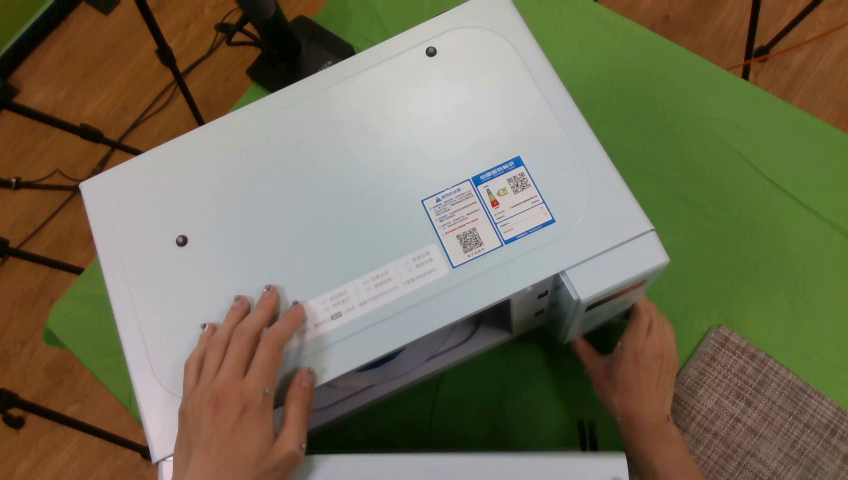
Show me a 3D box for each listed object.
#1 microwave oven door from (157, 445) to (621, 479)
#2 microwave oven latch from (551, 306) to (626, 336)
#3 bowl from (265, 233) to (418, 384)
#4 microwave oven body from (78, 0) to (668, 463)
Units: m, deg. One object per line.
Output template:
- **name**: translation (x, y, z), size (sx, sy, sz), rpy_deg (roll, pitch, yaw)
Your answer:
- **microwave oven door**: translation (-0.017, 0.208, 0.557), size (0.355, 0.245, 0.039), rpy_deg (-3, 71, 7)
- **microwave oven latch**: translation (0.183, 0.081, 0.677), size (0.079, 0.030, 0.030), rpy_deg (-19, 71, 2)
- **bowl**: translation (-0.081, 0.075, 0.631), size (0.151, 0.077, 0.150), rpy_deg (1, 75, -2)
- **microwave oven body**: translation (-0.051, 0.003, 0.632), size (0.442, 0.262, 0.323), rpy_deg (-25, 71, 0)
